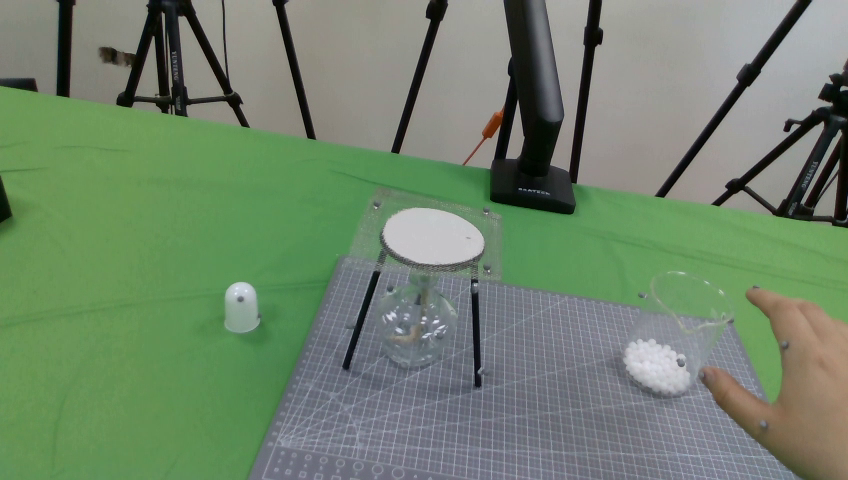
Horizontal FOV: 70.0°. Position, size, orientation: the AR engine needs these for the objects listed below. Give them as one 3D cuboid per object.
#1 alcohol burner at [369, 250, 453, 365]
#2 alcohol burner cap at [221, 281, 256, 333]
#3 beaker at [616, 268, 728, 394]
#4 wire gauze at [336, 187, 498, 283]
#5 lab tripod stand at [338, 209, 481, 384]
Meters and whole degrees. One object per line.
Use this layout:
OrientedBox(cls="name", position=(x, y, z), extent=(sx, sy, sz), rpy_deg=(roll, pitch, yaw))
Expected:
OrientedBox(cls="alcohol burner", position=(-0.009, 0.056, 0.548), extent=(0.078, 0.120, 0.077), rpy_deg=(8, 36, -5))
OrientedBox(cls="alcohol burner cap", position=(-0.176, 0.060, 0.571), extent=(0.034, 0.048, 0.033), rpy_deg=(7, 36, -4))
OrientedBox(cls="beaker", position=(0.228, 0.090, 0.570), extent=(0.074, 0.101, 0.083), rpy_deg=(18, 36, 13))
OrientedBox(cls="wire gauze", position=(0.001, -0.005, 0.502), extent=(0.121, 0.011, 0.124), rpy_deg=(9, 33, 2))
OrientedBox(cls="lab tripod stand", position=(-0.006, 0.047, 0.544), extent=(0.148, 0.132, 0.147), rpy_deg=(5, 33, -3))
